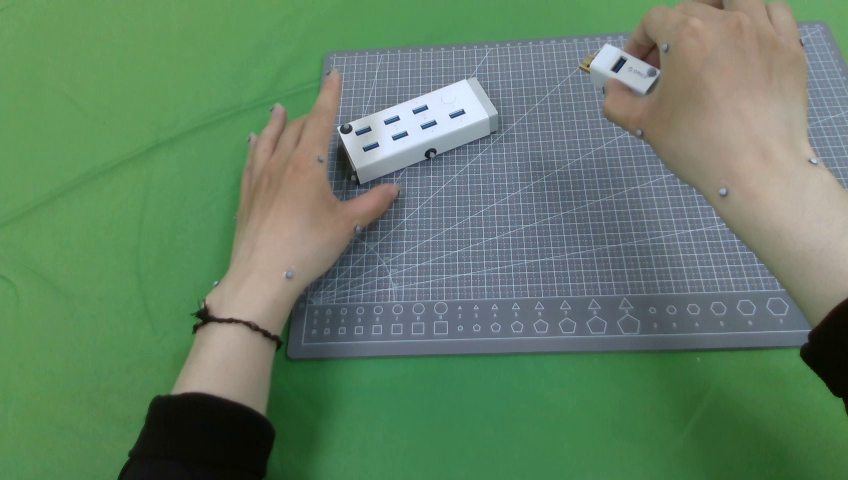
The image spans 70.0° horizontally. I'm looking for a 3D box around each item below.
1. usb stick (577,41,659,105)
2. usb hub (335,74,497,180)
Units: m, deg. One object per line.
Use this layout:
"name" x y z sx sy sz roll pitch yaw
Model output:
"usb stick" 0.132 -0.119 0.422 0.058 0.027 0.021 36 89 28
"usb hub" -0.006 -0.094 0.497 0.125 0.025 0.049 -21 61 -7
